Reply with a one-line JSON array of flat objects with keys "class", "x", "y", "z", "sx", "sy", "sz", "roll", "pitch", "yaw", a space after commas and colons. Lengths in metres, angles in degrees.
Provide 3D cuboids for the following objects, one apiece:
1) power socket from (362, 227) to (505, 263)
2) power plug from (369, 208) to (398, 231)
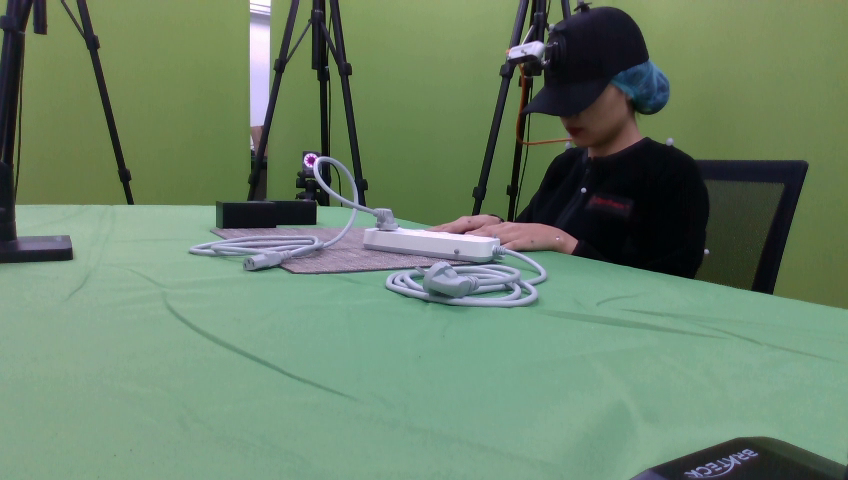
[{"class": "power socket", "x": 0.009, "y": 0.004, "z": 0.909, "sx": 0.226, "sy": 0.032, "sz": 0.072, "roll": 7, "pitch": 9, "yaw": 28}, {"class": "power plug", "x": -0.069, "y": -0.023, "z": 0.915, "sx": 0.035, "sy": 0.052, "sz": 0.073, "roll": 9, "pitch": 9, "yaw": 39}]
